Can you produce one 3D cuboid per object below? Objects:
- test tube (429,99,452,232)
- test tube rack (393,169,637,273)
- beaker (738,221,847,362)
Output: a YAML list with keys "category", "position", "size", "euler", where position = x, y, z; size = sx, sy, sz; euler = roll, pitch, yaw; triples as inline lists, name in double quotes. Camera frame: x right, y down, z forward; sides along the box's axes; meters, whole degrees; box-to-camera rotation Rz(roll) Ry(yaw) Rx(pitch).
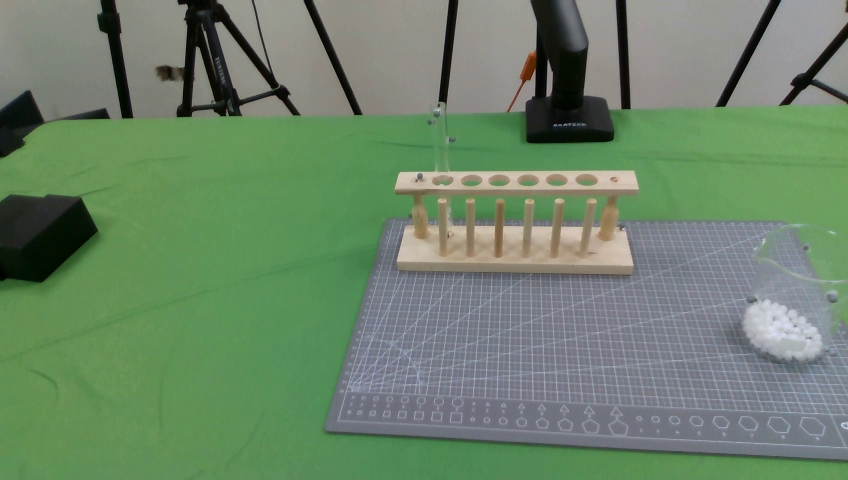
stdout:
- category: "test tube"
  position: [0.018, -0.072, 0.625]
  size: [0.017, 0.151, 0.017]
  euler: [-4, 35, 3]
- category: "test tube rack"
  position: [0.091, -0.020, 0.631]
  size: [0.242, 0.086, 0.066]
  euler: [1, 38, 8]
- category: "beaker"
  position: [0.309, 0.046, 0.508]
  size: [0.084, 0.101, 0.073]
  euler: [1, 38, 9]
